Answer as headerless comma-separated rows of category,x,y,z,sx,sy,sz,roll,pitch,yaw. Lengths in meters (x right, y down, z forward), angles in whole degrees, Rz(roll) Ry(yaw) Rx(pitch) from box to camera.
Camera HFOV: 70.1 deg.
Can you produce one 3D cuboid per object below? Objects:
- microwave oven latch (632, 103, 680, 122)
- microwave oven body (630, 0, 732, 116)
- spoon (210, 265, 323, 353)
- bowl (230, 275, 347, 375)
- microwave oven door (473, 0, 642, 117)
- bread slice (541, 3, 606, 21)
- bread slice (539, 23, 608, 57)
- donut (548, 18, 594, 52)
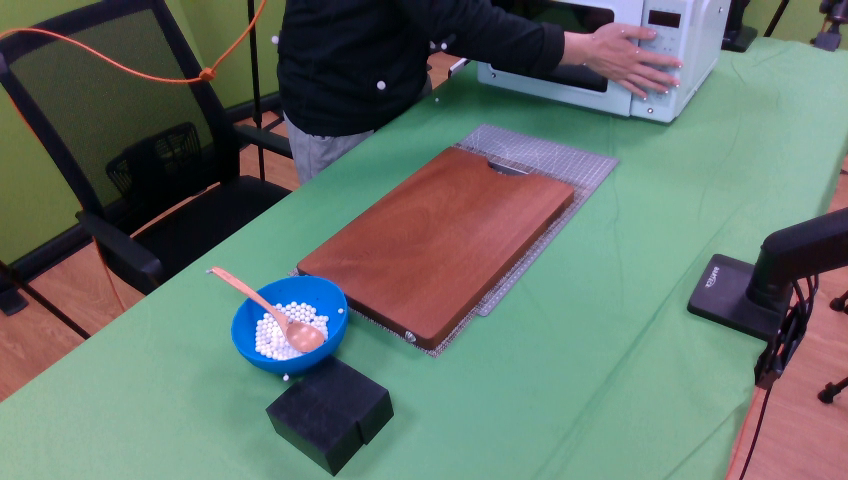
microwave oven latch,0.443,-0.249,1.158,0.078,0.029,0.030,20,48,29
microwave oven body,0.377,-0.463,1.267,0.438,0.261,0.327,21,49,30
spoon,-0.213,0.087,0.806,0.193,0.021,0.042,37,56,12
bowl,-0.170,0.125,0.802,0.151,0.077,0.150,-4,40,4
microwave oven door,0.254,-0.393,1.196,0.353,0.245,0.039,22,49,30
bread slice,0.321,-0.484,1.278,0.106,0.018,0.135,18,34,28
bread slice,0.335,-0.446,1.336,0.132,0.019,0.104,-29,43,-20
donut,0.315,-0.442,1.300,0.099,0.048,0.098,-18,36,15
